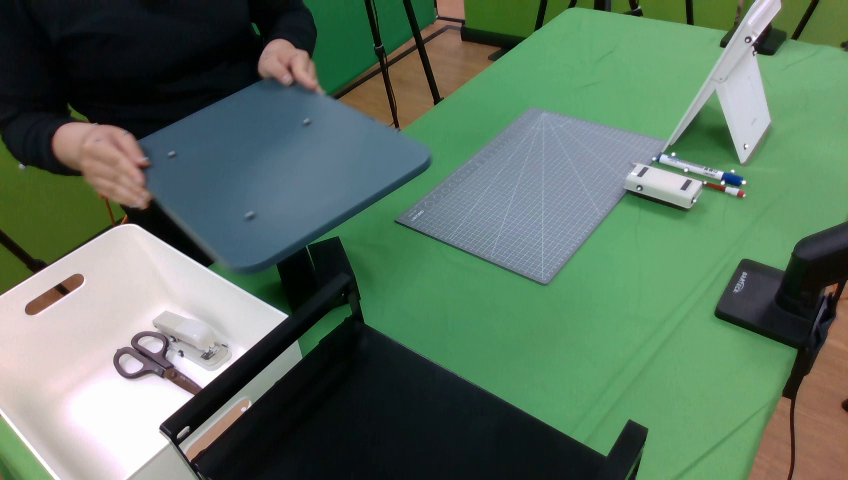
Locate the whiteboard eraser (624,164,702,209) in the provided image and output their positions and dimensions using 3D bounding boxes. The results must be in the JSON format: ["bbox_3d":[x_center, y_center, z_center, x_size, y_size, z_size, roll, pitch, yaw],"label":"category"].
[{"bbox_3d":[0.396,-0.087,1.003,0.112,0.042,0.056,22,48,31],"label":"whiteboard eraser"}]

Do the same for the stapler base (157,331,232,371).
[{"bbox_3d":[-0.326,0.142,0.850,0.129,0.024,0.041,18,43,32],"label":"stapler base"}]

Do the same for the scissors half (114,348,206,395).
[{"bbox_3d":[-0.348,0.185,0.810,0.174,0.013,0.040,14,52,19],"label":"scissors half"}]

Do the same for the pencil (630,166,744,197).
[{"bbox_3d":[0.447,-0.103,1.039,0.192,0.012,0.012,21,48,30],"label":"pencil"}]

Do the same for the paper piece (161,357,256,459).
[{"bbox_3d":[-0.232,0.219,0.749,0.134,0.004,0.136,25,52,32],"label":"paper piece"}]

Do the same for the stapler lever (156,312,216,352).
[{"bbox_3d":[-0.331,0.122,0.835,0.117,0.040,0.027,17,43,33],"label":"stapler lever"}]

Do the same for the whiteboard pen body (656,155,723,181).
[{"bbox_3d":[0.475,-0.123,1.052,0.139,0.017,0.017,24,50,32],"label":"whiteboard pen body"}]

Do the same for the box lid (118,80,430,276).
[{"bbox_3d":[-0.196,-0.099,0.742,0.264,0.015,0.368,-35,45,-26],"label":"box lid"}]

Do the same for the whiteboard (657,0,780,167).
[{"bbox_3d":[0.571,-0.272,1.038,0.143,0.306,0.218,37,54,17],"label":"whiteboard"}]

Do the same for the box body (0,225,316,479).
[{"bbox_3d":[-0.339,0.162,0.728,0.361,0.161,0.255,23,48,31],"label":"box body"}]

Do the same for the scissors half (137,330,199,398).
[{"bbox_3d":[-0.336,0.172,0.822,0.040,0.013,0.174,-36,53,-29],"label":"scissors half"}]

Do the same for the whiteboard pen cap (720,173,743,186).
[{"bbox_3d":[0.519,-0.103,1.020,0.033,0.018,0.018,23,49,30],"label":"whiteboard pen cap"}]

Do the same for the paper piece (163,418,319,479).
[{"bbox_3d":[-0.229,0.236,0.760,0.137,0.008,0.137,32,37,29],"label":"paper piece"}]
